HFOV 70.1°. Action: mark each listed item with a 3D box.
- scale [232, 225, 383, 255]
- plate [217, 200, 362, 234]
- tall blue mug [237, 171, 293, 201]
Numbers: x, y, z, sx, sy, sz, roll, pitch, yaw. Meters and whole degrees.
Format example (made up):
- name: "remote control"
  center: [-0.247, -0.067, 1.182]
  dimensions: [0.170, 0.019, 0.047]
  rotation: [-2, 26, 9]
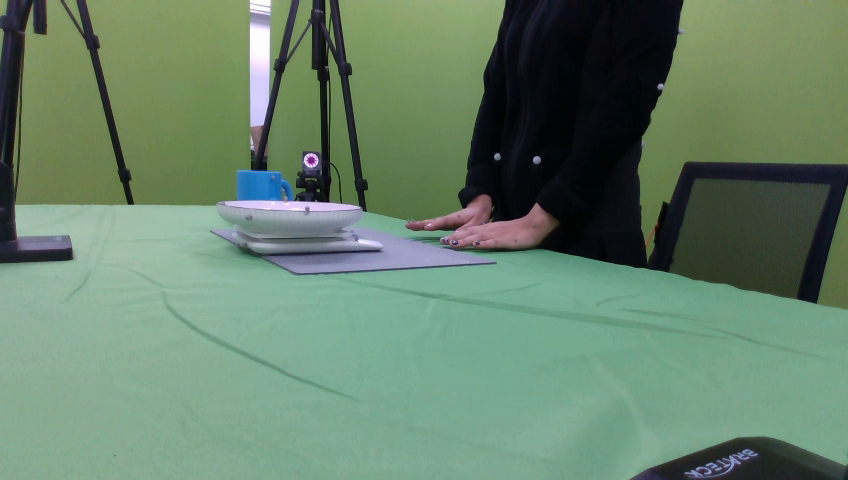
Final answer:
- name: "scale"
  center: [-0.177, -0.004, 0.920]
  dimensions: [0.202, 0.031, 0.148]
  rotation: [-1, 9, -30]
- name: "plate"
  center: [-0.196, -0.035, 0.894]
  dimensions: [0.209, 0.038, 0.209]
  rotation: [2, 7, 0]
- name: "tall blue mug"
  center: [-0.291, -0.070, 1.091]
  dimensions: [0.078, 0.108, 0.107]
  rotation: [3, 8, 7]
